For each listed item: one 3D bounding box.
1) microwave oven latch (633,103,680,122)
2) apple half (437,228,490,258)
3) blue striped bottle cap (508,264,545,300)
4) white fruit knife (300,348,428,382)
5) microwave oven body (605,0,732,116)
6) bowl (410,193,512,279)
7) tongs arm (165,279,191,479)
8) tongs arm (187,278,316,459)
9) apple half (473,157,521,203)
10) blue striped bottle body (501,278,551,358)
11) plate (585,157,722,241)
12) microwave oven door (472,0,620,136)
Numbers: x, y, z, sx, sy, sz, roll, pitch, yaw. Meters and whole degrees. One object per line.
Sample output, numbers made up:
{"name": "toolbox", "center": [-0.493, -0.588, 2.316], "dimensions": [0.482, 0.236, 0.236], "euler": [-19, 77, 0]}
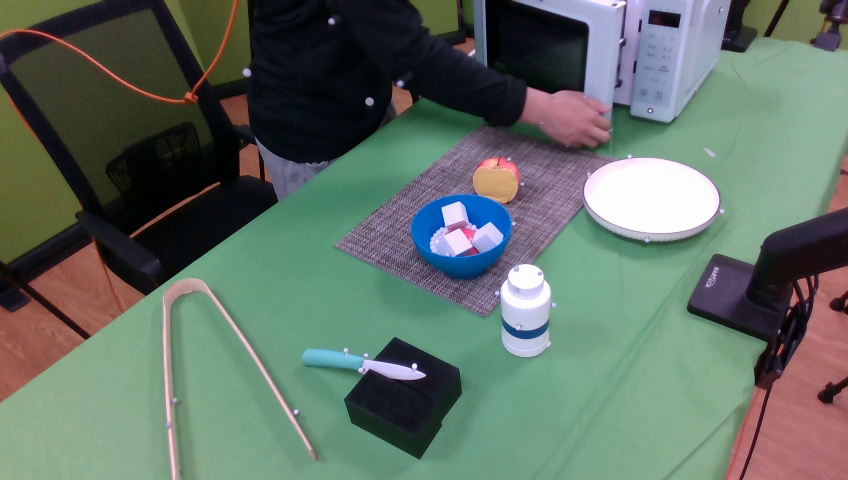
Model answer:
{"name": "microwave oven latch", "center": [0.443, -0.249, 1.158], "dimensions": [0.078, 0.029, 0.030], "euler": [21, 49, 30]}
{"name": "apple half", "center": [0.056, 0.002, 0.901], "dimensions": [0.081, 0.033, 0.081], "euler": [-2, 39, 2]}
{"name": "blue striped bottle cap", "center": [0.125, 0.051, 0.735], "dimensions": [0.044, 0.021, 0.044], "euler": [-6, 39, 5]}
{"name": "white fruit knife", "center": [-0.080, 0.155, 0.748], "dimensions": [0.206, 0.027, 0.016], "euler": [0, 20, 34]}
{"name": "microwave oven body", "center": [0.377, -0.463, 1.267], "dimensions": [0.438, 0.261, 0.327], "euler": [21, 49, 30]}
{"name": "bowl", "center": [0.057, 0.005, 0.905], "dimensions": [0.151, 0.077, 0.150], "euler": [-3, 40, 3]}
{"name": "tongs arm", "center": [-0.313, 0.182, 0.789], "dimensions": [0.051, 0.026, 0.381], "euler": [-19, 41, -14]}
{"name": "tongs arm", "center": [-0.241, 0.155, 0.816], "dimensions": [0.028, 0.028, 0.384], "euler": [-31, 45, -21]}
{"name": "apple half", "center": [0.127, -0.106, 1.030], "dimensions": [0.080, 0.075, 0.053], "euler": [4, 37, 19]}
{"name": "blue striped bottle body", "center": [0.129, 0.089, 0.769], "dimensions": [0.063, 0.121, 0.063], "euler": [-4, 40, 4]}
{"name": "plate", "center": [0.367, -0.063, 0.979], "dimensions": [0.207, 0.039, 0.206], "euler": [-4, 40, 4]}
{"name": "microwave oven door", "center": [0.224, -0.371, 1.175], "dimensions": [0.039, 0.245, 0.352], "euler": [-31, 46, -25]}
